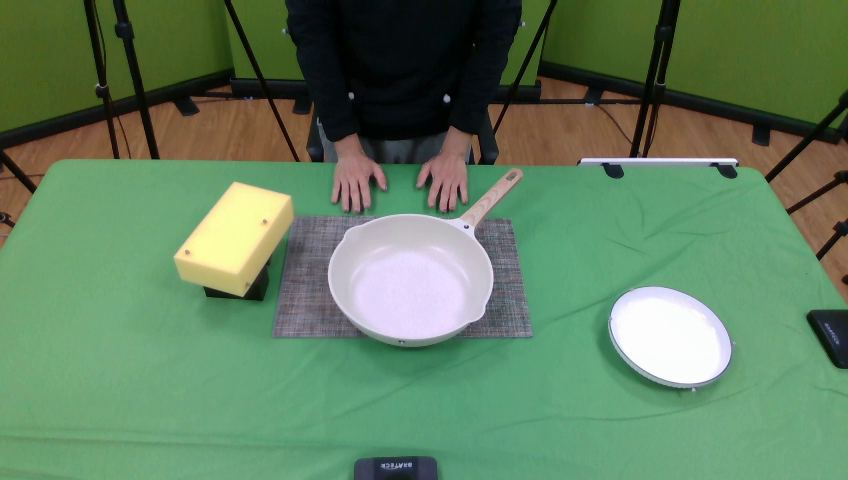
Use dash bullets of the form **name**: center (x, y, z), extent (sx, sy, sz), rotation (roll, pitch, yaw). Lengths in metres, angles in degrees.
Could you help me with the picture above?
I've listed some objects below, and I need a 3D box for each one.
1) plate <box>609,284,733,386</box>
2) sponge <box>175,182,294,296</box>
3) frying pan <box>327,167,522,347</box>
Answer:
- **plate**: center (0.425, 0.167, 1.059), extent (0.208, 0.039, 0.206), rotation (2, 46, -2)
- **sponge**: center (-0.332, -0.007, 1.086), extent (0.118, 0.061, 0.206), rotation (13, 47, 9)
- **frying pan**: center (0.042, 0.009, 1.132), extent (0.305, 0.103, 0.487), rotation (34, 61, 24)
